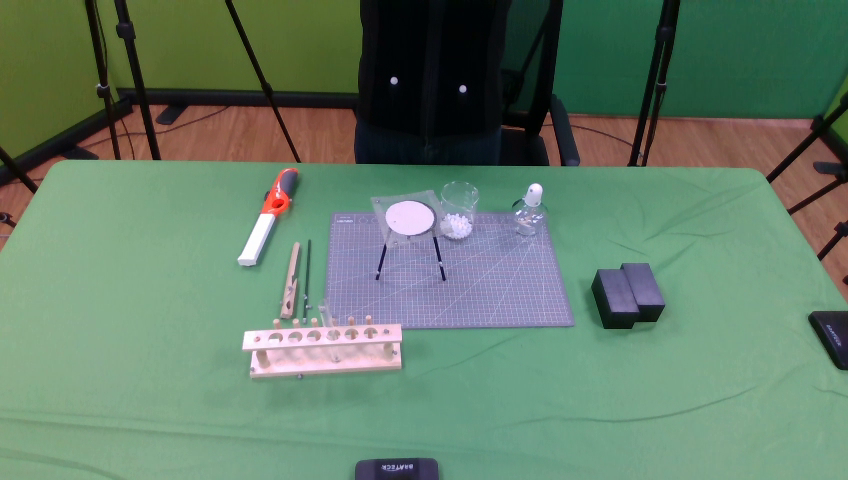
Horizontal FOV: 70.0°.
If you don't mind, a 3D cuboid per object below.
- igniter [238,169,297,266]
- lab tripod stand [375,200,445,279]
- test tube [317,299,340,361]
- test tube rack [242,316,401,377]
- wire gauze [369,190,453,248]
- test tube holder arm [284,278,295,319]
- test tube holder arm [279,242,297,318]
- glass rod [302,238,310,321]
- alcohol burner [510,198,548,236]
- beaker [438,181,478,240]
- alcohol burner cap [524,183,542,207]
[{"bbox_3d":[-0.313,-0.055,1.224,0.057,0.025,0.275,1,45,10],"label":"igniter"},{"bbox_3d":[-0.023,0.003,1.113,0.148,0.132,0.147,4,45,-3],"label":"lab tripod stand"},{"bbox_3d":[-0.147,0.142,0.937,0.017,0.151,0.017,-1,46,2],"label":"test tube"},{"bbox_3d":[-0.161,0.166,0.983,0.242,0.085,0.066,-2,46,-6],"label":"test tube rack"},{"bbox_3d":[-0.024,-0.042,1.064,0.121,0.011,0.124,-10,48,-16],"label":"wire gauze"},{"bbox_3d":[-0.241,0.103,1.085,0.010,0.015,0.087,25,39,-27],"label":"test tube holder arm"},{"bbox_3d":[-0.249,0.069,1.114,0.013,0.015,0.177,25,39,-27],"label":"test tube holder arm"},{"bbox_3d":[-0.218,0.069,1.125,0.008,0.008,0.198,-2,47,-5],"label":"glass rod"},{"bbox_3d":[0.214,-0.066,1.213,0.078,0.119,0.077,2,48,-3],"label":"alcohol burner"},{"bbox_3d":[0.066,-0.054,1.200,0.074,0.101,0.083,-17,50,-19],"label":"beaker"},{"bbox_3d":[0.216,-0.090,1.186,0.034,0.048,0.033,1,56,-1],"label":"alcohol burner cap"}]
